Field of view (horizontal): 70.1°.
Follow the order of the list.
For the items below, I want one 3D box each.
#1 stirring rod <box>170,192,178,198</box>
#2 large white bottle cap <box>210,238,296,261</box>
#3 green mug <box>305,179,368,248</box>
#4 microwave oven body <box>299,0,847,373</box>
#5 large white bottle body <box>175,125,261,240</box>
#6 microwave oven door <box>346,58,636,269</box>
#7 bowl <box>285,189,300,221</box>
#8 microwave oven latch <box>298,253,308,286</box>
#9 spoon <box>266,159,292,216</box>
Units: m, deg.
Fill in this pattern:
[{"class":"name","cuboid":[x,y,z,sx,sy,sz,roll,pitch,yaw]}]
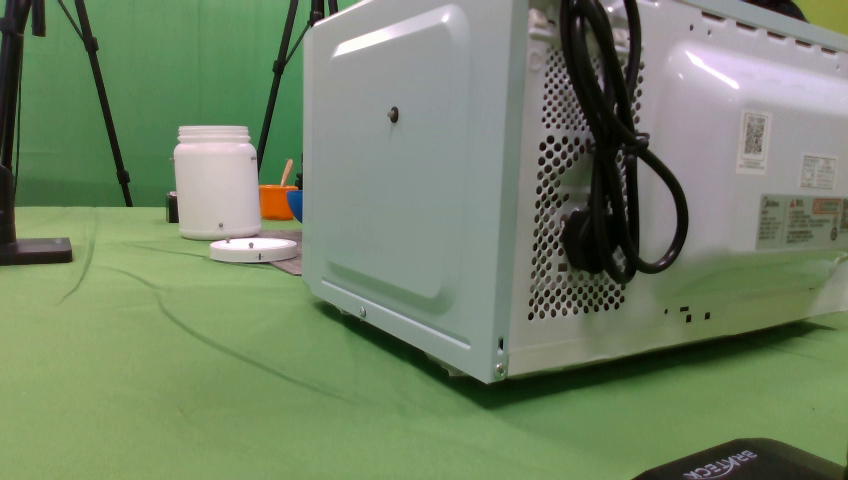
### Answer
[{"class":"stirring rod","cuboid":[-0.465,-0.098,1.283,0.014,0.006,0.177,42,21,17]},{"class":"large white bottle cap","cuboid":[-0.236,0.013,0.839,0.115,0.018,0.115,2,7,0]},{"class":"green mug","cuboid":[-0.133,-0.044,0.977,0.092,0.105,0.126,6,8,31]},{"class":"microwave oven body","cuboid":[0.152,-0.055,0.542,0.444,0.260,0.324,-2,7,-33]},{"class":"large white bottle body","cuboid":[-0.349,-0.100,1.025,0.131,0.184,0.130,-1,9,0]},{"class":"microwave oven door","cuboid":[0.086,-0.088,0.746,0.357,0.243,0.039,1,8,-11]},{"class":"bowl","cuboid":[-0.180,-0.051,1.113,0.151,0.077,0.151,3,8,0]},{"class":"microwave oven latch","cuboid":[-0.081,0.027,0.582,0.079,0.029,0.030,-1,7,-32]},{"class":"spoon","cuboid":[-0.334,-0.127,1.423,0.041,0.193,0.022,0,-37,7]}]
